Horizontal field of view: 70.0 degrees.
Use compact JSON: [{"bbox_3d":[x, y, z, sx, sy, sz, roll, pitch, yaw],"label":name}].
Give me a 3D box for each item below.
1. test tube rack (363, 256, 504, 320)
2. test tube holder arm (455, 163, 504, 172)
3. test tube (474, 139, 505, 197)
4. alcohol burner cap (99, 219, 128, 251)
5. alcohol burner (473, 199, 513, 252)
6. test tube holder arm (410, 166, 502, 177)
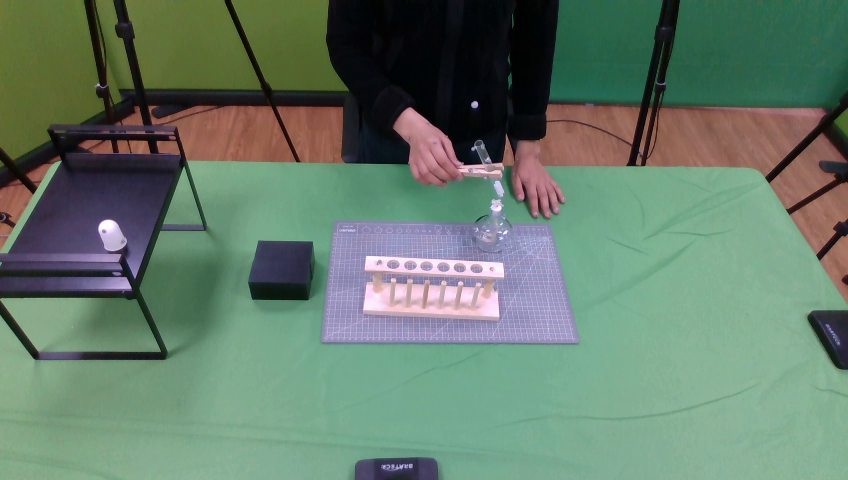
[{"bbox_3d":[0.015,0.085,1.069,0.242,0.085,0.066,3,45,-2],"label":"test tube rack"},{"bbox_3d":[0.097,-0.126,1.069,0.087,0.015,0.010,-2,53,23],"label":"test tube holder arm"},{"bbox_3d":[0.116,-0.122,1.056,0.017,0.151,0.017,-12,55,17],"label":"test tube"},{"bbox_3d":[-0.466,-0.010,0.907,0.034,0.048,0.033,1,47,-1],"label":"alcohol burner cap"},{"bbox_3d":[0.135,-0.034,1.174,0.078,0.120,0.077,1,47,-1],"label":"alcohol burner"},{"bbox_3d":[0.055,-0.123,1.085,0.178,0.015,0.013,4,55,27],"label":"test tube holder arm"}]
